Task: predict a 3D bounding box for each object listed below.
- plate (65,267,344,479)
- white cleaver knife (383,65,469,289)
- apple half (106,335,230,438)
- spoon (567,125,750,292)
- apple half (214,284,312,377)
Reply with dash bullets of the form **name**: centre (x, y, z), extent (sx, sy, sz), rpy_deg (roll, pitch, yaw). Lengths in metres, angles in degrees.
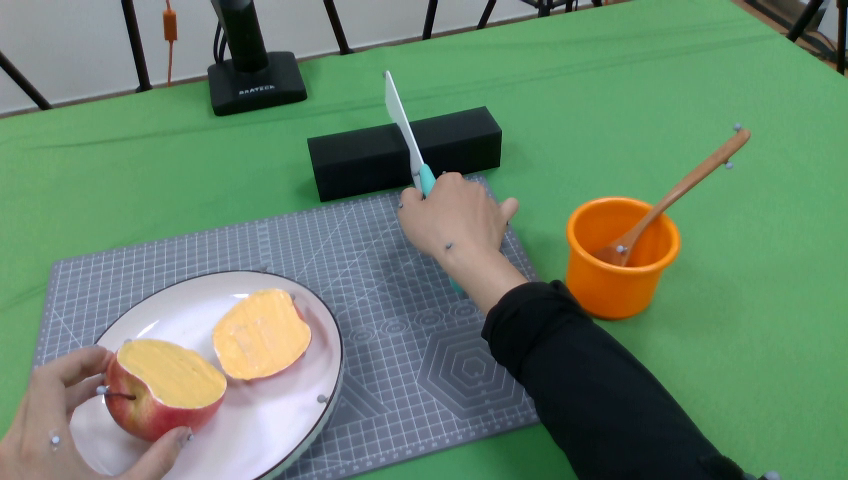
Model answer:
- **plate**: centre (-0.166, 0.111, 0.479), extent (0.209, 0.038, 0.207), rpy_deg (-1, 46, 2)
- **white cleaver knife**: centre (-0.004, -0.071, 0.622), extent (0.021, 0.066, 0.283), rpy_deg (-13, 57, -7)
- **apple half**: centre (-0.191, 0.113, 0.445), extent (0.080, 0.053, 0.075), rpy_deg (32, 11, 13)
- **spoon**: centre (0.198, -0.024, 0.518), extent (0.022, 0.194, 0.041), rpy_deg (23, 28, -39)
- **apple half**: centre (-0.130, 0.080, 0.499), extent (0.081, 0.033, 0.080), rpy_deg (-3, 59, 5)
